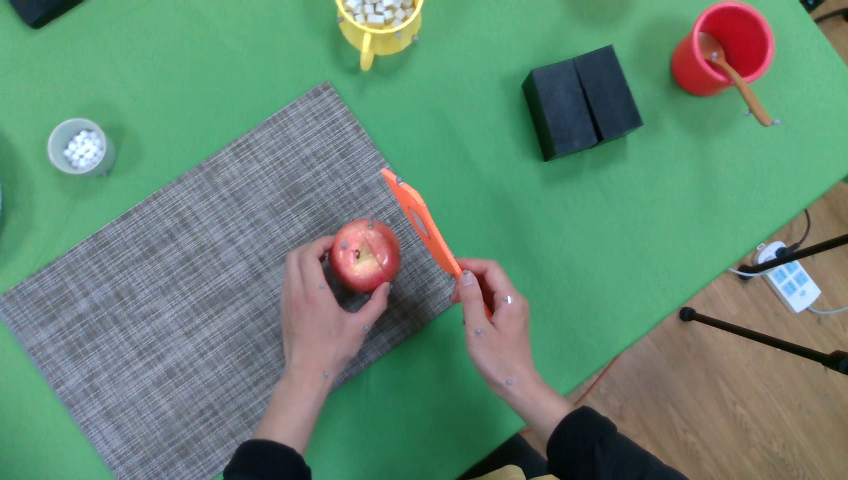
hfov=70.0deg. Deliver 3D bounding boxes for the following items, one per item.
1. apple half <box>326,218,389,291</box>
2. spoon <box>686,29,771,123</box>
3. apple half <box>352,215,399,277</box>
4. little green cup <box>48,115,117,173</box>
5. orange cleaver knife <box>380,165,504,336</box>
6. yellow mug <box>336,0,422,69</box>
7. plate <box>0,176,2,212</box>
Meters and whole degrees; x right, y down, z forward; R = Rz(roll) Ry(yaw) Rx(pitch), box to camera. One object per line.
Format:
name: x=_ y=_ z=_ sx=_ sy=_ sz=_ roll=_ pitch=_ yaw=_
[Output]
apple half: x=-0.079 y=0.022 z=0.669 sx=0.053 sy=0.074 sz=0.081 roll=-31 pitch=93 yaw=-1
spoon: x=0.343 y=-0.189 z=0.684 sx=0.041 sy=0.022 sz=0.191 roll=0 pitch=42 yaw=-3
apple half: x=-0.047 y=0.001 z=0.671 sx=0.033 sy=0.081 sz=0.081 roll=-31 pitch=89 yaw=-3
little green cup: x=-0.377 y=-0.103 z=0.674 sx=0.061 sy=0.038 sz=0.061 roll=0 pitch=86 yaw=-4
orange cleaver knife: x=0.019 y=0.014 z=0.602 sx=0.012 sy=0.076 sz=0.213 roll=-38 pitch=119 yaw=-9
yellow mug: x=-0.055 y=-0.261 z=0.695 sx=0.100 sy=0.064 sz=0.130 roll=13 pitch=86 yaw=-4
plate: x=-0.562 y=-0.046 z=0.656 sx=0.208 sy=0.039 sz=0.207 roll=0 pitch=86 yaw=-4
